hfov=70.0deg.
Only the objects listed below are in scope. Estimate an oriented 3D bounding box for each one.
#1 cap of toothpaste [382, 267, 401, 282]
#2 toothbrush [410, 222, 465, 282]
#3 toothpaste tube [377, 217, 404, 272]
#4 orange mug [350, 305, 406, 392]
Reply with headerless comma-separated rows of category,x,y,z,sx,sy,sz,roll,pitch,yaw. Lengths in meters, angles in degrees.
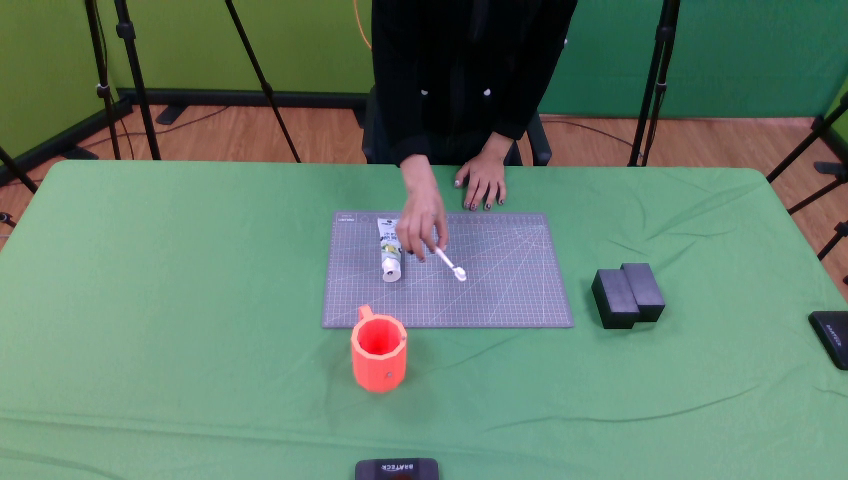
cap of toothpaste,-0.060,0.063,1.119,0.037,0.037,0.011,-10,50,-12
toothbrush,0.021,0.016,1.059,0.014,0.017,0.180,-25,43,-17
toothpaste tube,-0.063,0.008,1.179,0.055,0.034,0.164,5,42,-9
orange mug,-0.080,0.168,0.978,0.083,0.101,0.125,-16,54,-18
